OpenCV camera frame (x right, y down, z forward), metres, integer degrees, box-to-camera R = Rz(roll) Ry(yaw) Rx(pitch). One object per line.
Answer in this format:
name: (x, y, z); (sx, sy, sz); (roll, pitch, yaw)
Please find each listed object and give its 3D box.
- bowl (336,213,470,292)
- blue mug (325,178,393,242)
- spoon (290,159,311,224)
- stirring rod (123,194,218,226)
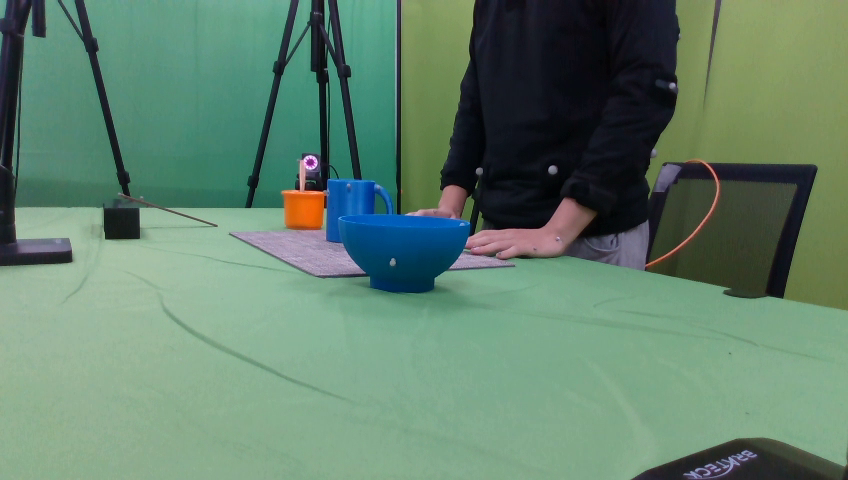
bowl: (-0.025, 0.013, 0.685); (0.151, 0.077, 0.151); (2, 7, 0)
blue mug: (-0.111, -0.052, 1.034); (0.116, 0.106, 0.082); (3, 7, 7)
spoon: (-0.256, -0.104, 1.265); (0.042, 0.193, 0.021); (0, -37, -9)
stirring rod: (-0.480, -0.056, 1.153); (0.177, 0.006, 0.014); (19, -5, -29)
